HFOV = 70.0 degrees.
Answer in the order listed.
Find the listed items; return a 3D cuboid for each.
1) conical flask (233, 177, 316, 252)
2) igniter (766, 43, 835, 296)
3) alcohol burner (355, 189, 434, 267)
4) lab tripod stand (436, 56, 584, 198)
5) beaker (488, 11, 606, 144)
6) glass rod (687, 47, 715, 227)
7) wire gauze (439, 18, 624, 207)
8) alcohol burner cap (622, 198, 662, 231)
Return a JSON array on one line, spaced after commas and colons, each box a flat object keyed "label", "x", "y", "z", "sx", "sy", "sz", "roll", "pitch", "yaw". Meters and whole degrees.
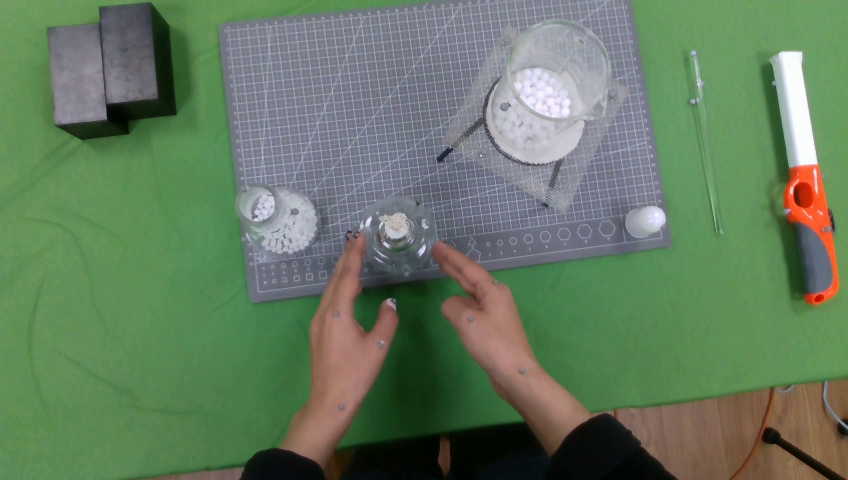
[{"label": "conical flask", "x": -0.146, "y": -0.030, "z": 0.571, "sx": 0.075, "sy": 0.122, "sz": 0.075, "roll": 0, "pitch": 85, "yaw": -3}, {"label": "igniter", "x": 0.408, "y": -0.078, "z": 0.658, "sx": 0.057, "sy": 0.025, "sz": 0.276, "roll": -5, "pitch": 86, "yaw": -14}, {"label": "alcohol burner", "x": -0.029, "y": -0.014, "z": 0.581, "sx": 0.078, "sy": 0.119, "sz": 0.077, "roll": 0, "pitch": 85, "yaw": -1}, {"label": "lab tripod stand", "x": 0.087, "y": -0.107, "z": 0.586, "sx": 0.148, "sy": 0.131, "sz": 0.148, "roll": 0, "pitch": 87, "yaw": -2}, {"label": "beaker", "x": 0.092, "y": -0.118, "z": 0.473, "sx": 0.084, "sy": 0.100, "sz": 0.074, "roll": 43, "pitch": 85, "yaw": 1}, {"label": "glass rod", "x": 0.304, "y": -0.113, "z": 0.664, "sx": 0.008, "sy": 0.008, "sz": 0.199, "roll": -6, "pitch": 88, "yaw": -4}, {"label": "wire gauze", "x": 0.093, "y": -0.111, "z": 0.521, "sx": 0.125, "sy": 0.011, "sz": 0.121, "roll": 30, "pitch": 87, "yaw": -2}, {"label": "alcohol burner cap", "x": 0.231, "y": -0.029, "z": 0.633, "sx": 0.034, "sy": 0.048, "sz": 0.034, "roll": 0, "pitch": 84, "yaw": -3}]
